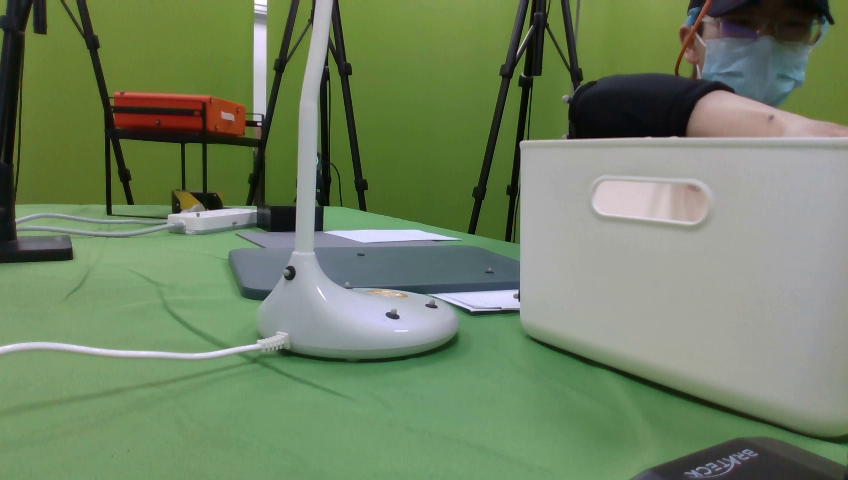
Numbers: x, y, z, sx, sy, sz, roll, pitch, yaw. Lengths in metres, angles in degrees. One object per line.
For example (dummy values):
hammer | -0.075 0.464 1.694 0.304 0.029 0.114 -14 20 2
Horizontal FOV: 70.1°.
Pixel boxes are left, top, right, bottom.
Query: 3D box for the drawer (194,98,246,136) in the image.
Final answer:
drawer | -0.539 -0.279 1.374 0.212 0.073 0.194 2 8 5

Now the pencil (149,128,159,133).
pencil | -0.528 -0.258 1.360 0.012 0.012 0.195 8 20 35

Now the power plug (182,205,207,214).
power plug | -0.455 -0.041 1.196 0.052 0.035 0.072 1 42 23

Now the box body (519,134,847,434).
box body | 0.279 0.006 0.485 0.366 0.160 0.253 -3 9 -36

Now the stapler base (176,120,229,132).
stapler base | -0.496 -0.257 1.364 0.041 0.024 0.131 2 9 22

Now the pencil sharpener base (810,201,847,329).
pencil sharpener base | 0.388 0.025 0.514 0.076 0.107 0.062 17 16 43

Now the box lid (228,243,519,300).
box lid | -0.044 0.033 0.757 0.373 0.015 0.262 -1 9 -22

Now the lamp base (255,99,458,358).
lamp base | -0.056 -0.013 0.462 0.160 0.180 0.180 6 11 27

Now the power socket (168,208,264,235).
power socket | -0.381 -0.038 1.129 0.072 0.032 0.227 4 8 17

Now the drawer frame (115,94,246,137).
drawer frame | -0.543 -0.281 1.374 0.213 0.082 0.201 2 8 4

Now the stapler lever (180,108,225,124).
stapler lever | -0.496 -0.281 1.359 0.027 0.040 0.118 2 8 22

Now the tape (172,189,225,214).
tape | -0.515 -0.087 1.388 0.117 0.052 0.117 3 8 0
